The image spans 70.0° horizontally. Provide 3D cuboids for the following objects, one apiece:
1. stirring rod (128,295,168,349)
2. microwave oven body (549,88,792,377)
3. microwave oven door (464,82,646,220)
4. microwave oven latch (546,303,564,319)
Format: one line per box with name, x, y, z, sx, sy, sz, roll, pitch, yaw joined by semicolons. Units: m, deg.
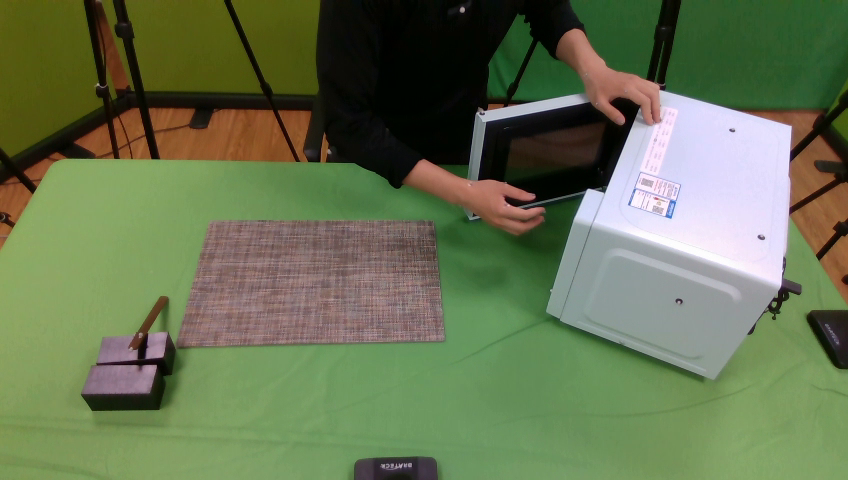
stirring rod;-0.451;0.131;0.996;0.014;0.006;0.175;9;21;-10
microwave oven body;0.456;-0.028;1.088;0.325;0.261;0.440;20;47;16
microwave oven door;0.258;-0.177;1.209;0.356;0.245;0.039;-14;48;-16
microwave oven latch;0.242;0.102;1.081;0.030;0.029;0.079;22;48;17
